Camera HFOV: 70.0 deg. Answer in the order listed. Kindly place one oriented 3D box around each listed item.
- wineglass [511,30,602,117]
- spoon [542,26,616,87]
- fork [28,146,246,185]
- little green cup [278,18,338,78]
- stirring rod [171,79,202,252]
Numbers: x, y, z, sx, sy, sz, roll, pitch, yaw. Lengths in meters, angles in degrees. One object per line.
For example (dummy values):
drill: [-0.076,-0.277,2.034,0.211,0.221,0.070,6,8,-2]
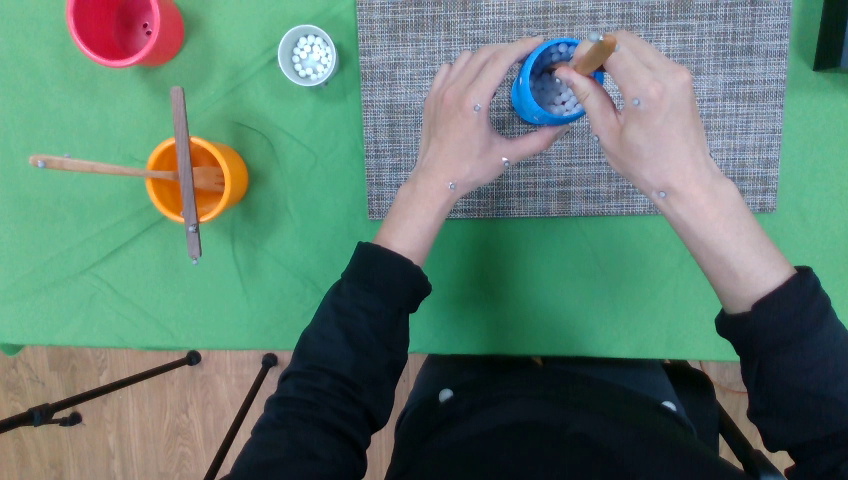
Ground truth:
wineglass: [0.118,-0.150,0.568,0.073,0.172,0.074,1,101,5]
spoon: [0.118,-0.134,0.456,0.041,0.193,0.021,26,101,-1]
fork: [-0.287,-0.077,0.628,0.209,0.018,0.028,2,112,-41]
little green cup: [-0.121,-0.202,0.647,0.061,0.038,0.062,1,102,5]
stirring rod: [-0.244,-0.075,0.623,0.014,0.006,0.176,-1,101,4]
